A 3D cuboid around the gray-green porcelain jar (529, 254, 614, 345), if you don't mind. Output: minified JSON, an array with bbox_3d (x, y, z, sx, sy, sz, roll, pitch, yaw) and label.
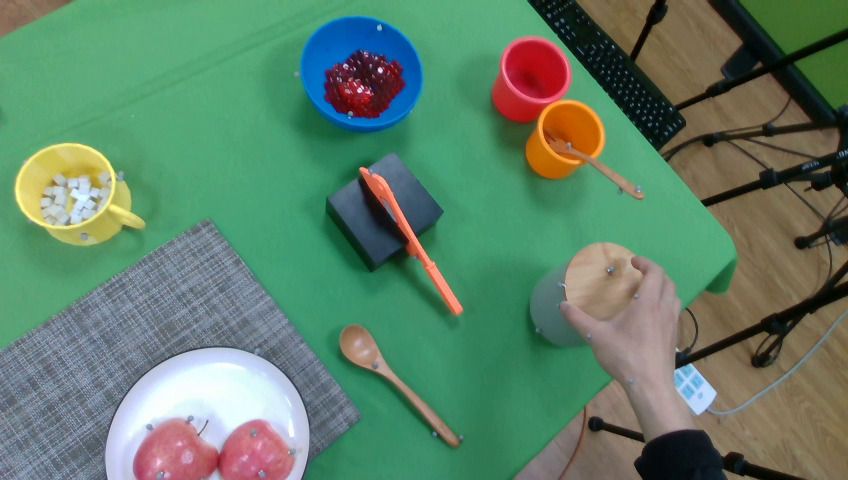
[{"bbox_3d":[0.192,0.071,0.732,0.106,0.127,0.105,3,74,-10],"label":"gray-green porcelain jar"}]

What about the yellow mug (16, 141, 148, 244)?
[{"bbox_3d":[-0.374,-0.046,0.682,0.131,0.064,0.099,24,71,-5],"label":"yellow mug"}]

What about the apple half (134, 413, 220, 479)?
[{"bbox_3d":[-0.259,0.224,0.627,0.074,0.053,0.080,-40,86,-15],"label":"apple half"}]

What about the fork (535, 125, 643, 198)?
[{"bbox_3d":[0.205,-0.103,0.769,0.028,0.019,0.205,-21,37,-16],"label":"fork"}]

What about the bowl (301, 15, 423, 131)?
[{"bbox_3d":[-0.081,-0.199,0.775,0.152,0.077,0.150,3,75,-10],"label":"bowl"}]

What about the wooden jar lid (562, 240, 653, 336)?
[{"bbox_3d":[0.202,0.054,0.674,0.109,0.021,0.108,3,76,-13],"label":"wooden jar lid"}]

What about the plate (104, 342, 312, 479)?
[{"bbox_3d":[-0.227,0.216,0.652,0.210,0.038,0.208,3,75,-11],"label":"plate"}]

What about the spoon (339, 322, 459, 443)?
[{"bbox_3d":[-0.028,0.171,0.716,0.193,0.022,0.041,44,51,2],"label":"spoon"}]

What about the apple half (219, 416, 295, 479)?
[{"bbox_3d":[-0.182,0.232,0.650,0.081,0.033,0.081,3,72,-8],"label":"apple half"}]

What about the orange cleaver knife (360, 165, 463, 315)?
[{"bbox_3d":[-0.016,0.000,0.732,0.012,0.076,0.212,-36,108,-14],"label":"orange cleaver knife"}]
